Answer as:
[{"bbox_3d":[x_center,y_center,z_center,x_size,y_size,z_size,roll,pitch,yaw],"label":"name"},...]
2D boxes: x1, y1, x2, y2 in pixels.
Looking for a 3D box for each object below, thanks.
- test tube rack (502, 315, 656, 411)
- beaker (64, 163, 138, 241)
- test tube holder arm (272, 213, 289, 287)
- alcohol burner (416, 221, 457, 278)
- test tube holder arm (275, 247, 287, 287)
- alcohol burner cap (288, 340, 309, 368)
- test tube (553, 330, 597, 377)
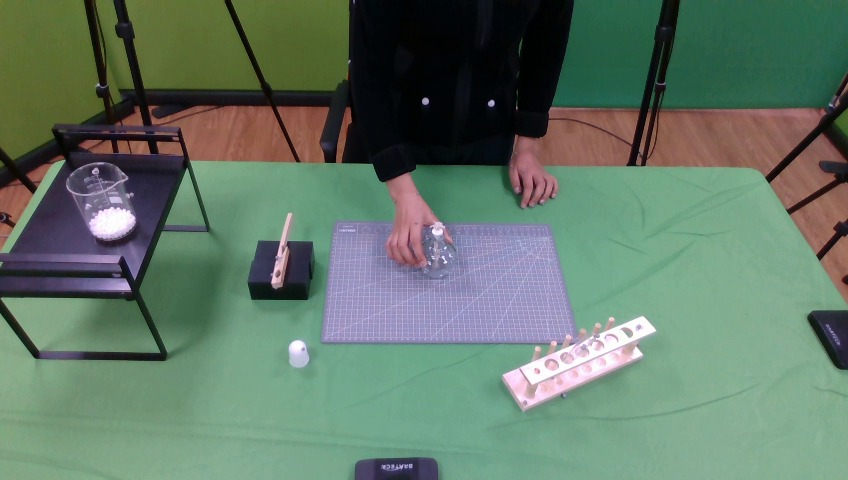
[{"bbox_3d":[0.253,0.186,0.989,0.242,0.085,0.066,-18,50,-20],"label":"test tube rack"},{"bbox_3d":[-0.477,-0.055,0.910,0.084,0.101,0.073,-9,48,-13],"label":"beaker"},{"bbox_3d":[-0.259,0.015,1.099,0.013,0.015,0.177,-1,45,-5],"label":"test tube holder arm"},{"bbox_3d":[0.024,0.013,1.116,0.078,0.120,0.077,1,45,-1],"label":"alcohol burner"},{"bbox_3d":[-0.251,0.046,1.068,0.010,0.015,0.087,0,45,-4],"label":"test tube holder arm"},{"bbox_3d":[-0.207,0.182,0.991,0.034,0.048,0.033,3,46,-3],"label":"alcohol burner cap"},{"bbox_3d":[0.226,0.176,0.924,0.017,0.151,0.017,6,55,-9],"label":"test tube"}]
